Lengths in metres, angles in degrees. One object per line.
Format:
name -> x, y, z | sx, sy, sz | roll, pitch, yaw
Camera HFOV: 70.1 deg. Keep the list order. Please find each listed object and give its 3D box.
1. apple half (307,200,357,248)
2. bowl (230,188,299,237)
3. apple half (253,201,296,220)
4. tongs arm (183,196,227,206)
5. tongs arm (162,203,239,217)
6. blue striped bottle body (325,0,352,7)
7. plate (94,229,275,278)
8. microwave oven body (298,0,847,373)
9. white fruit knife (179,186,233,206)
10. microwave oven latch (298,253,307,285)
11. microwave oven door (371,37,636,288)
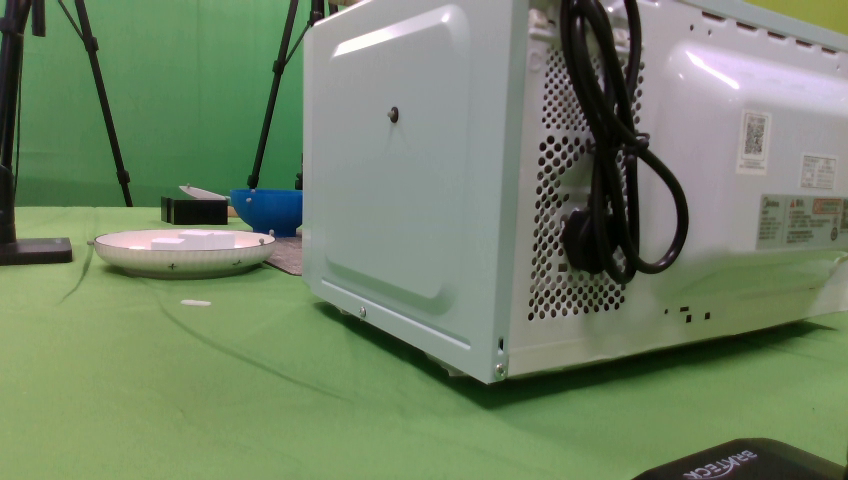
apple half -> -0.135, -0.024, 0.941 | 0.053, 0.074, 0.081 | 13, 8, 39
bowl -> -0.264, -0.048, 1.065 | 0.151, 0.077, 0.151 | 3, 8, 0
apple half -> -0.264, -0.053, 1.067 | 0.081, 0.033, 0.081 | 1, 8, 0
tongs arm -> -0.404, -0.081, 1.479 | 0.385, 0.026, 0.050 | 3, 8, -2
tongs arm -> -0.396, -0.066, 1.399 | 0.389, 0.028, 0.028 | 1, 5, -15
blue striped bottle body -> -0.121, -0.435, 0.953 | 0.063, 0.120, 0.063 | 7, 8, -1
plate -> -0.291, 0.016, 0.750 | 0.208, 0.039, 0.207 | 2, 7, 0
microwave oven body -> 0.151, -0.055, 0.542 | 0.444, 0.260, 0.324 | -2, 7, -33
white fruit knife -> -0.413, -0.081, 1.270 | 0.208, 0.027, 0.016 | 17, 13, -41
microwave oven latch -> -0.082, 0.027, 0.582 | 0.079, 0.029, 0.030 | -2, 7, -33
microwave oven door -> 0.109, -0.080, 0.686 | 0.358, 0.243, 0.039 | -2, 9, -33
